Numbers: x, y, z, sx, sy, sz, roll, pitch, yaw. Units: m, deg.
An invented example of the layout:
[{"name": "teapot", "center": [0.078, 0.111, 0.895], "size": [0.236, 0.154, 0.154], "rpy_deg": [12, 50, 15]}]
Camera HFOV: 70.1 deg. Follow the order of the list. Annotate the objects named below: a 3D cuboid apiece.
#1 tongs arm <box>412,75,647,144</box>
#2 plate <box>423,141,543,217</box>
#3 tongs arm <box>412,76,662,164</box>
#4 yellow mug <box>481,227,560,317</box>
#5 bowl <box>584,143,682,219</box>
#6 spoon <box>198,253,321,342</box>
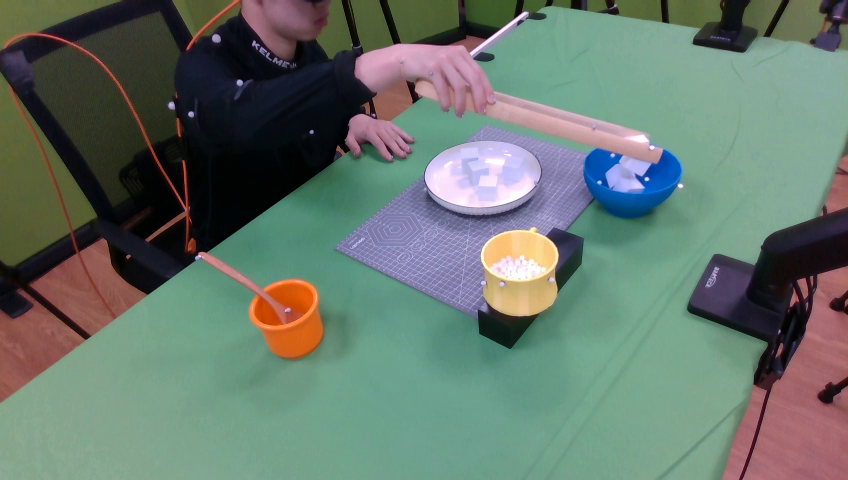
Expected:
[{"name": "tongs arm", "center": [0.170, -0.193, 0.936], "size": [0.389, 0.028, 0.028], "rpy_deg": [13, 29, -11]}, {"name": "plate", "center": [0.103, -0.104, 1.059], "size": [0.207, 0.039, 0.206], "rpy_deg": [-4, 40, 4]}, {"name": "tongs arm", "center": [0.171, -0.177, 0.901], "size": [0.386, 0.026, 0.050], "rpy_deg": [13, 25, -11]}, {"name": "yellow mug", "center": [0.131, 0.032, 0.801], "size": [0.099, 0.064, 0.131], "rpy_deg": [11, 43, 20]}, {"name": "bowl", "center": [0.333, -0.088, 0.980], "size": [0.151, 0.077, 0.150], "rpy_deg": [-4, 40, 3]}, {"name": "spoon", "center": [-0.220, 0.075, 0.814], "size": [0.021, 0.194, 0.041], "rpy_deg": [-37, 18, 39]}]
